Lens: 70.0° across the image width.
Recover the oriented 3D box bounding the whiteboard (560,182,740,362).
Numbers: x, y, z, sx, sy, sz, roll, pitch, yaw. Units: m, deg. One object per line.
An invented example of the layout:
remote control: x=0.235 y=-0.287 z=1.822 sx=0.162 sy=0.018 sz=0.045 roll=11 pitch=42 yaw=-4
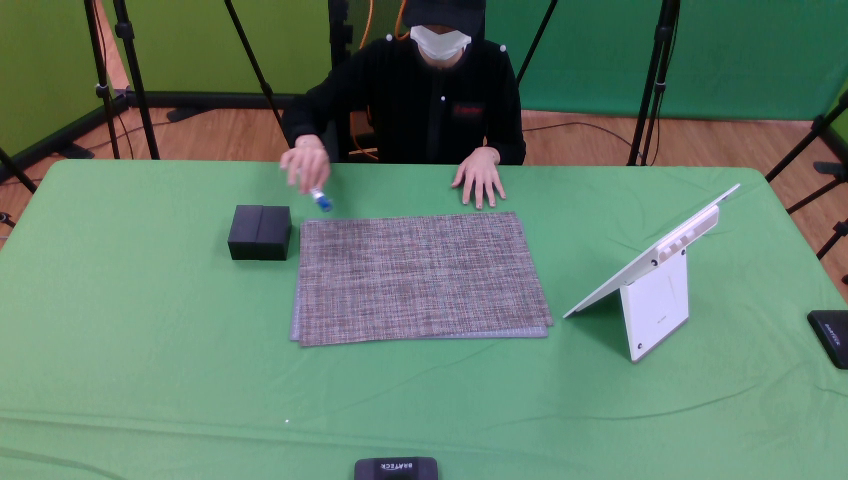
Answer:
whiteboard: x=0.406 y=0.075 z=1.001 sx=0.217 sy=0.306 sz=0.143 roll=-28 pitch=73 yaw=-28

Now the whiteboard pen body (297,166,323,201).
whiteboard pen body: x=-0.210 y=-0.100 z=1.143 sx=0.017 sy=0.017 sz=0.140 roll=-20 pitch=46 yaw=-22

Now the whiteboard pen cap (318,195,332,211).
whiteboard pen cap: x=-0.181 y=-0.068 z=1.100 sx=0.018 sy=0.018 sz=0.033 roll=-20 pitch=45 yaw=-22
